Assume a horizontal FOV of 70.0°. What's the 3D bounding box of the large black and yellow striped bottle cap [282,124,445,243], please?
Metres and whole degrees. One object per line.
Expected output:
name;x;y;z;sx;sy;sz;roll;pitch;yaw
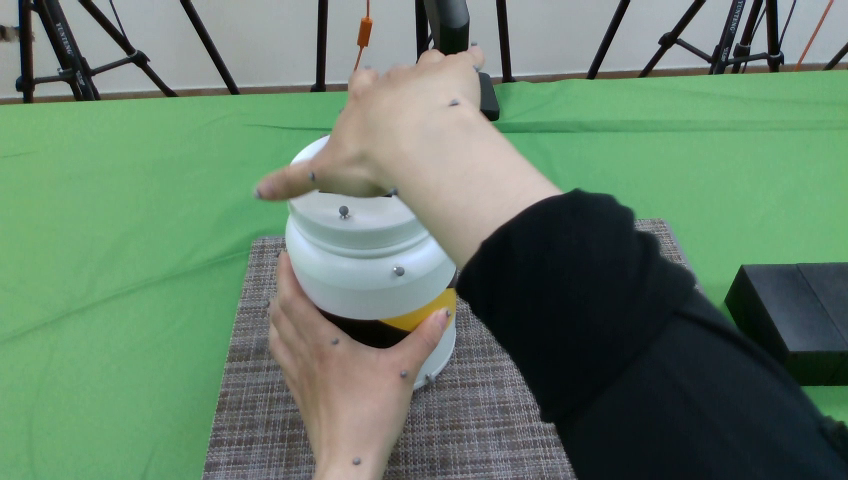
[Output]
large black and yellow striped bottle cap;-0.042;-0.044;0.428;0.115;0.019;0.114;0;44;1

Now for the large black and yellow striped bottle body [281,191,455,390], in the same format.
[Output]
large black and yellow striped bottle body;-0.040;0.020;0.489;0.131;0.185;0.129;-1;43;1
